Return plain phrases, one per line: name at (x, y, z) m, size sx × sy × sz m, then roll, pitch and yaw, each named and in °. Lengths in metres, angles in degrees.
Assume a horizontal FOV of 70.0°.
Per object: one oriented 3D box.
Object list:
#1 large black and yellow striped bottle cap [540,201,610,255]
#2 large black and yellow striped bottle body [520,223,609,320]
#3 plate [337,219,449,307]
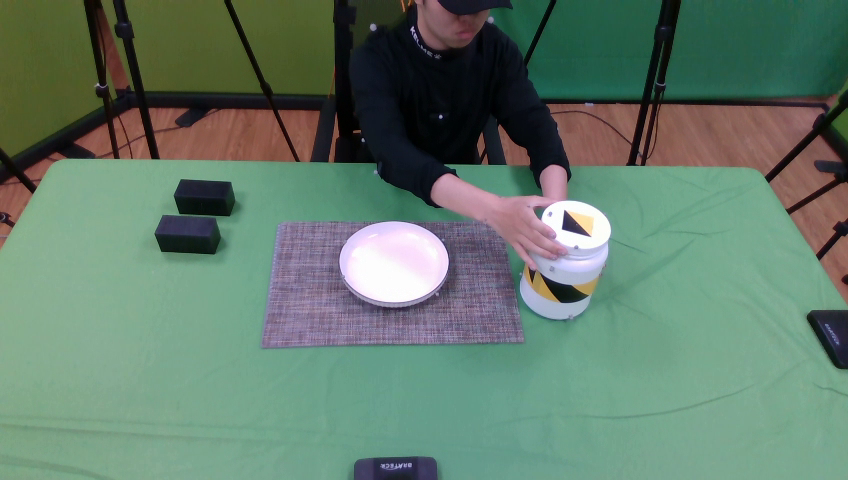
large black and yellow striped bottle cap at (0.250, -0.022, 1.003) m, size 0.115 × 0.019 × 0.114 m, roll 4°, pitch 46°, yaw -3°
large black and yellow striped bottle body at (0.247, 0.038, 1.065) m, size 0.131 × 0.185 × 0.130 m, roll 2°, pitch 46°, yaw -2°
plate at (-0.057, 0.045, 1.132) m, size 0.208 × 0.039 × 0.206 m, roll 2°, pitch 46°, yaw -2°
